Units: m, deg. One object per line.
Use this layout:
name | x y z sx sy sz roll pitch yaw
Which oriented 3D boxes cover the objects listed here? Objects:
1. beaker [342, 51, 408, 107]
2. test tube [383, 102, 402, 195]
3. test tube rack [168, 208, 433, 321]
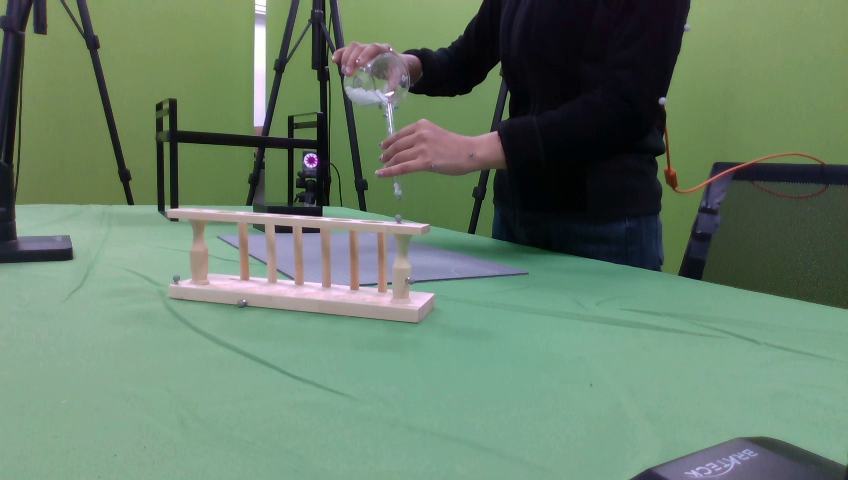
beaker | -0.082 -0.254 0.978 0.074 0.084 0.100 -4 7 -32
test tube | -0.049 -0.141 0.928 0.017 0.150 0.017 -7 -13 -1
test tube rack | -0.116 0.017 0.574 0.242 0.085 0.067 4 8 13
